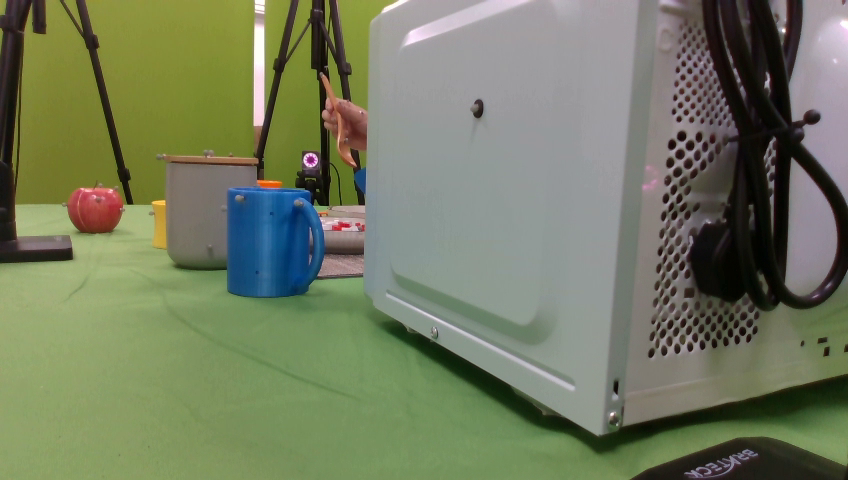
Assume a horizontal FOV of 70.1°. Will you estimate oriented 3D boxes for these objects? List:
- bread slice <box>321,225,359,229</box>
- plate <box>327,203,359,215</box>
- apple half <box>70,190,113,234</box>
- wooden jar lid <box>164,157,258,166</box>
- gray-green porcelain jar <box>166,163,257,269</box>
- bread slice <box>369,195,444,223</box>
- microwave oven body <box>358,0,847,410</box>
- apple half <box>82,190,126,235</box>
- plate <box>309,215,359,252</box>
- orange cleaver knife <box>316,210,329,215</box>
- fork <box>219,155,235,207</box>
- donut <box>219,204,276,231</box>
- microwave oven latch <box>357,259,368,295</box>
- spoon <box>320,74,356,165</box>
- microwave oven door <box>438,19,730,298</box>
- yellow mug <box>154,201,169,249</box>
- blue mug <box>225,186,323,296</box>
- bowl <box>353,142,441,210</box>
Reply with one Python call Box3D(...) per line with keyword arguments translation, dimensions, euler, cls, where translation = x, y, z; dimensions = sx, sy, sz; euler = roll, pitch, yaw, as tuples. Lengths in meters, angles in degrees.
Box3D(translation=(-0.125, -0.009, 0.938), dimensions=(0.131, 0.019, 0.105), euler=(5, 8, 32), cls="bread slice")
Box3D(translation=(-0.102, -0.053, 1.299), dimensions=(0.209, 0.038, 0.209), euler=(2, 8, 0), cls="plate")
Box3D(translation=(-0.552, -0.047, 1.010), dimensions=(0.053, 0.074, 0.081), euler=(-1, 9, 26), cls="apple half")
Box3D(translation=(-0.261, -0.093, 0.746), dimensions=(0.108, 0.020, 0.108), euler=(0, 9, 0), cls="wooden jar lid")
Box3D(translation=(-0.263, -0.031, 0.754), dimensions=(0.106, 0.126, 0.106), euler=(2, 7, 0), cls="gray-green porcelain jar")
Box3D(translation=(-0.040, -0.057, 1.142), dimensions=(0.107, 0.018, 0.133), euler=(-9, -8, -40), cls="bread slice")
Box3D(translation=(0.210, -0.051, 0.471), dimensions=(0.444, 0.260, 0.324), euler=(-1, 7, -28), cls="microwave oven body")
Box3D(translation=(-0.516, -0.046, 0.994), dimensions=(0.032, 0.081, 0.081), euler=(0, 6, 26), cls="apple half")
Box3D(translation=(-0.130, -0.011, 0.945), dimensions=(0.208, 0.039, 0.207), euler=(2, 7, 0), cls="plate")
Box3D(translation=(-0.259, -0.064, 1.423), dimensions=(0.212, 0.012, 0.077), euler=(-4, 3, -30), cls="orange cleaver knife")
Box3D(translation=(-0.459, -0.134, 1.415), dimensions=(0.028, 0.018, 0.207), euler=(-1, -34, -25), cls="fork")
Box3D(translation=(-0.316, -0.039, 1.083), dimensions=(0.099, 0.048, 0.099), euler=(2, 7, 0), cls="donut")
Box3D(translation=(-0.019, 0.031, 0.529), dimensions=(0.079, 0.029, 0.030), euler=(-1, 7, -26), cls="microwave oven latch")
Box3D(translation=(-0.153, -0.214, 1.064), dimensions=(0.021, 0.193, 0.042), euler=(-23, -20, 21), cls="spoon")
Box3D(translation=(0.181, -0.076, 0.618), dimensions=(0.358, 0.243, 0.039), euler=(-2, 8, -28), cls="microwave oven door")
Box3D(translation=(-0.337, -0.022, 0.899), dimensions=(0.130, 0.064, 0.100), euler=(8, 9, 34), cls="yellow mug")
Box3D(translation=(-0.148, 0.000, 0.618), dimensions=(0.116, 0.106, 0.083), euler=(7, 9, 33), cls="blue mug")
Box3D(translation=(-0.034, -0.098, 1.001), dimensions=(0.151, 0.077, 0.151), euler=(-20, -1, 0), cls="bowl")
